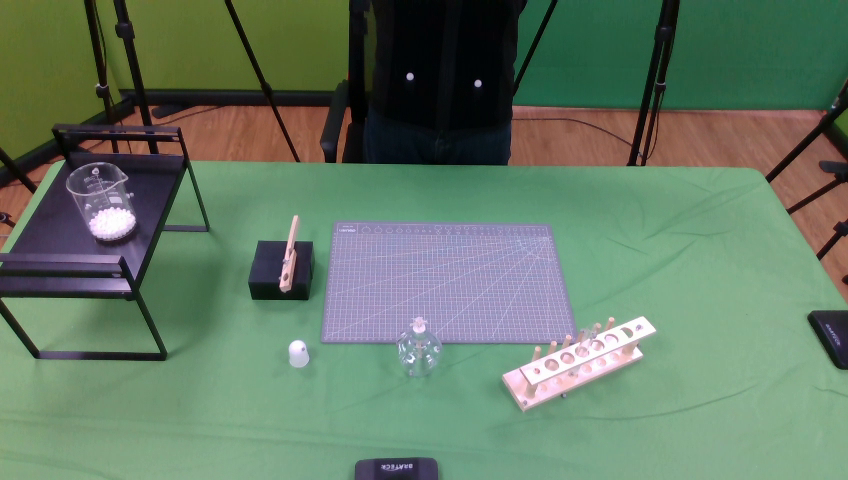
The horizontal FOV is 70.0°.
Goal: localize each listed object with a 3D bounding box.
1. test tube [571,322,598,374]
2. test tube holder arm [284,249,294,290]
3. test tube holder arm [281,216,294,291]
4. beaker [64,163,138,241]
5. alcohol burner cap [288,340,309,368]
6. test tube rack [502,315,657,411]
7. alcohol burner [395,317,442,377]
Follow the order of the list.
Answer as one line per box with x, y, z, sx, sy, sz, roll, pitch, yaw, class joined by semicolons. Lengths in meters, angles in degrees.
0.246;0.169;0.936;0.017;0.151;0.017;-1;53;1;test tube
-0.237;0.052;1.064;0.010;0.015;0.087;-3;45;-4;test tube holder arm
-0.246;0.020;1.095;0.013;0.015;0.177;-4;45;-5;test tube holder arm
-0.477;-0.055;0.910;0.084;0.101;0.073;-9;48;-13;beaker
-0.207;0.183;0.991;0.034;0.048;0.033;3;47;-3;alcohol burner cap
0.253;0.186;0.989;0.242;0.085;0.066;-18;50;-20;test tube rack
-0.009;0.166;0.971;0.078;0.120;0.077;0;45;0;alcohol burner
